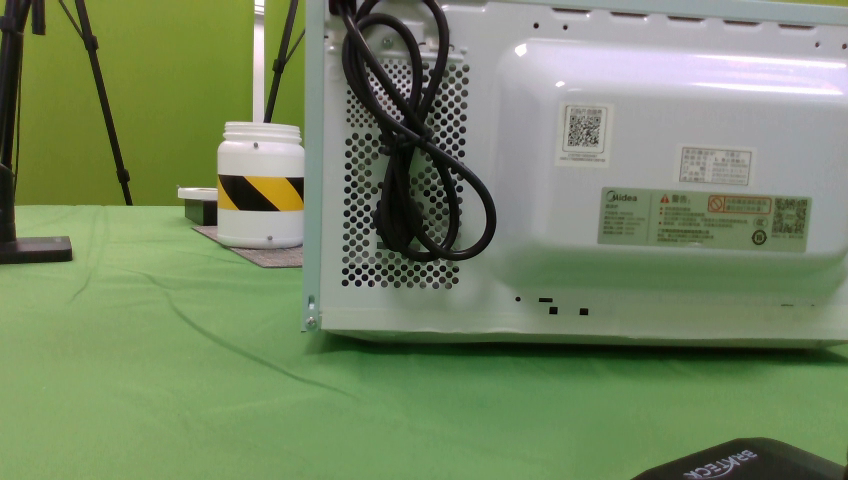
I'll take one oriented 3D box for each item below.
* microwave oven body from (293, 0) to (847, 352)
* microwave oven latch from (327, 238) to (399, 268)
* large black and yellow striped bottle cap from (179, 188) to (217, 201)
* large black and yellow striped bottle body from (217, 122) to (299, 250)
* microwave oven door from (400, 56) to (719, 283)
[{"bbox_3d":[0.122,-0.055,0.550,0.442,0.260,0.325,3,7,-5],"label":"microwave oven body"},{"bbox_3d":[-0.069,0.015,0.694,0.079,0.029,0.030,3,7,-3],"label":"microwave oven latch"},{"bbox_3d":[-0.434,-0.093,1.226,0.115,0.019,0.115,3,9,0],"label":"large black and yellow striped bottle cap"},{"bbox_3d":[-0.250,-0.084,0.931,0.131,0.184,0.130,2,7,0],"label":"large black and yellow striped bottle body"},{"bbox_3d":[0.155,-0.077,0.698,0.356,0.243,0.039,2,8,-5],"label":"microwave oven door"}]
